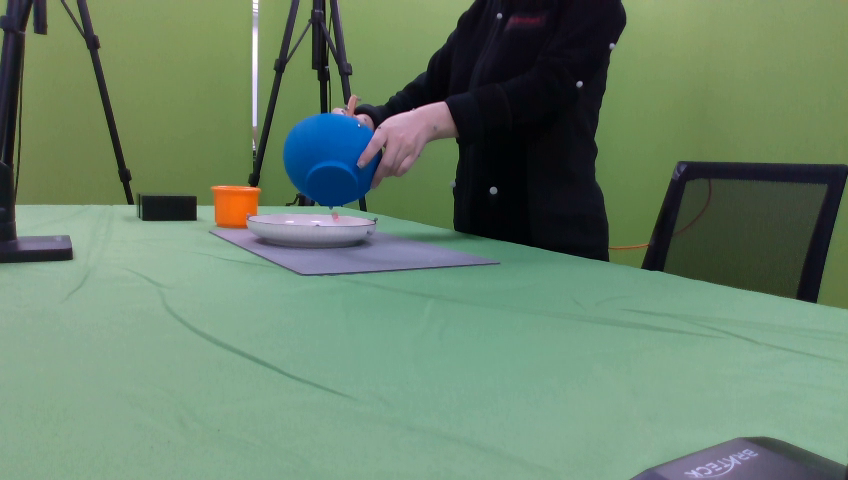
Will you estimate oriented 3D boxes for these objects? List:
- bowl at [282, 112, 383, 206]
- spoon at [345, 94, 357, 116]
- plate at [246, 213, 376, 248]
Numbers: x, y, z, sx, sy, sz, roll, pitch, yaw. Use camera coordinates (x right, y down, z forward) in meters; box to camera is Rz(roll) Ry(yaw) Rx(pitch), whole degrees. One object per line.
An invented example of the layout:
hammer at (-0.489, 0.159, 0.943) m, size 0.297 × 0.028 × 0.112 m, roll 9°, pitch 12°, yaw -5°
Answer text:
bowl at (-0.135, -0.102, 0.885) m, size 0.152 × 0.151 × 0.076 m, roll 1°, pitch 42°, yaw -7°
spoon at (-0.136, -0.161, 0.991) m, size 0.041 × 0.193 × 0.021 m, roll 9°, pitch -29°, yaw 2°
plate at (-0.185, -0.017, 0.994) m, size 0.209 × 0.038 × 0.209 m, roll 3°, pitch 8°, yaw 0°
